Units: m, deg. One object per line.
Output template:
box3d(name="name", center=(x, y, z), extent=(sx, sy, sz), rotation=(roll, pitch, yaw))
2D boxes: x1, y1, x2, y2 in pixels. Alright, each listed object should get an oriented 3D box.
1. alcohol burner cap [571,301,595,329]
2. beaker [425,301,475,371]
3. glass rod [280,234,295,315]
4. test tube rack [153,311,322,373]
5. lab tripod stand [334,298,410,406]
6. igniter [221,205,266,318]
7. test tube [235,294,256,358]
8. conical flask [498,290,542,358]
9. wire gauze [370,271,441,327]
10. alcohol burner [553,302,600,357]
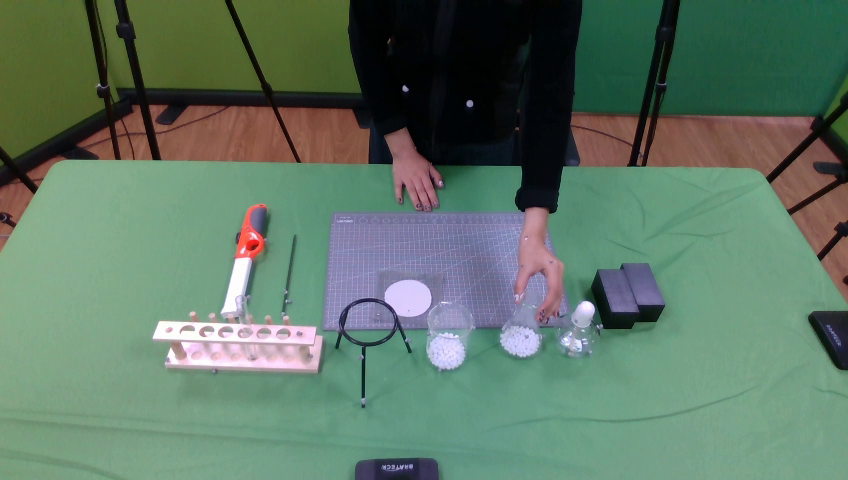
box3d(name="alcohol burner cap", center=(0.262, 0.120, 0.991), extent=(0.034, 0.048, 0.033), rotation=(2, 52, -2))
box3d(name="beaker", center=(0.038, 0.159, 0.996), extent=(0.074, 0.101, 0.083), rotation=(-13, 48, -17))
box3d(name="glass rod", center=(-0.253, 0.060, 1.132), extent=(0.008, 0.008, 0.198), rotation=(0, 46, -4))
box3d(name="test tube rack", center=(-0.293, 0.160, 0.978), extent=(0.242, 0.085, 0.066), rotation=(3, 46, -2))
box3d(name="lab tripod stand", center=(-0.086, 0.164, 0.958), extent=(0.148, 0.132, 0.147), rotation=(3, 44, -2))
box3d(name="igniter", center=(-0.338, 0.030, 1.140), extent=(0.057, 0.025, 0.274), rotation=(-5, 46, 3))
box3d(name="test tube", center=(-0.274, 0.136, 0.933), extent=(0.017, 0.151, 0.017), rotation=(4, 45, -4))
box3d(name="conical flask", center=(0.167, 0.135, 1.009), extent=(0.075, 0.122, 0.075), rotation=(2, 45, -2))
box3d(name="wire gauze", center=(-0.032, 0.103, 1.104), extent=(0.125, 0.011, 0.121), rotation=(4, 46, 3))
box3d(name="alcohol burner", center=(0.260, 0.143, 1.018), extent=(0.078, 0.119, 0.077), rotation=(3, 45, -3))
